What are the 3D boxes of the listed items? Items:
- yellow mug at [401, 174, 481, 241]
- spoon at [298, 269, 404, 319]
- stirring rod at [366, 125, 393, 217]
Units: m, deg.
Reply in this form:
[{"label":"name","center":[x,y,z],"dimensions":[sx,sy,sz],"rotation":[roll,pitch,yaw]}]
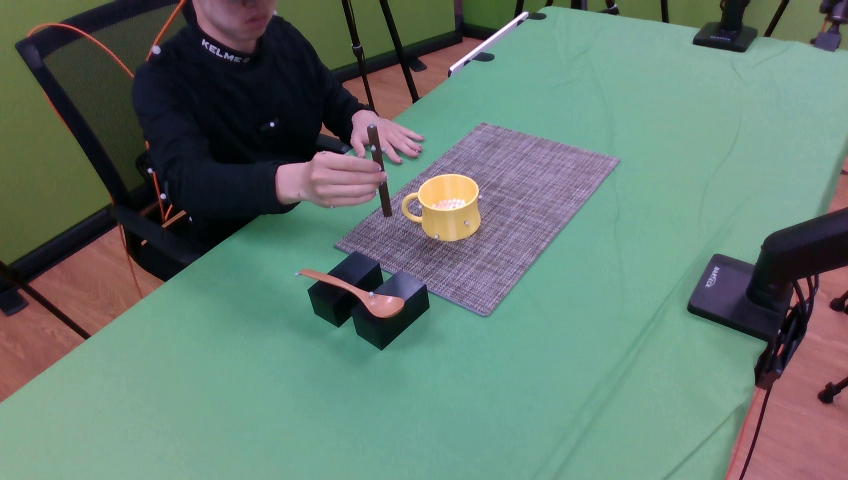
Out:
[{"label":"yellow mug","center":[0.026,-0.054,0.989],"dimensions":[0.130,0.064,0.099],"rotation":[-1,41,8]},{"label":"spoon","center":[-0.106,0.068,0.831],"dimensions":[0.192,0.022,0.042],"rotation":[21,49,32]},{"label":"stirring rod","center":[-0.060,-0.089,0.829],"dimensions":[0.014,0.177,0.006],"rotation":[-9,52,-1]}]
